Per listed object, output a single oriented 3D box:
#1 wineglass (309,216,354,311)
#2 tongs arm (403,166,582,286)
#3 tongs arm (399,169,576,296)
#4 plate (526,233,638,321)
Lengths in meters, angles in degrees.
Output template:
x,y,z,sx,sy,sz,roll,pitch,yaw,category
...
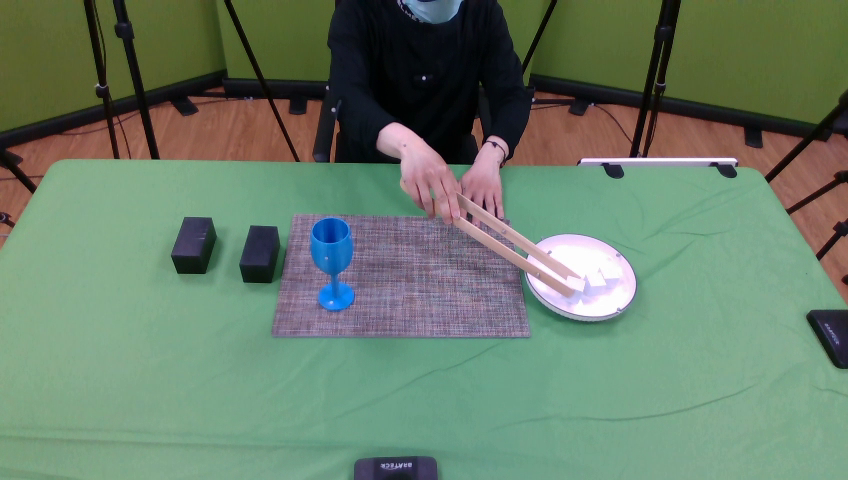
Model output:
x,y,z,sx,sy,sz,roll,pitch,yaw,category
-0.155,0.043,1.032,0.074,0.173,0.073,2,46,-2,wineglass
0.119,-0.027,1.123,0.384,0.026,0.050,37,46,13,tongs arm
0.107,-0.014,1.106,0.387,0.028,0.028,34,49,10,tongs arm
0.292,0.071,1.135,0.209,0.038,0.208,2,46,-2,plate
